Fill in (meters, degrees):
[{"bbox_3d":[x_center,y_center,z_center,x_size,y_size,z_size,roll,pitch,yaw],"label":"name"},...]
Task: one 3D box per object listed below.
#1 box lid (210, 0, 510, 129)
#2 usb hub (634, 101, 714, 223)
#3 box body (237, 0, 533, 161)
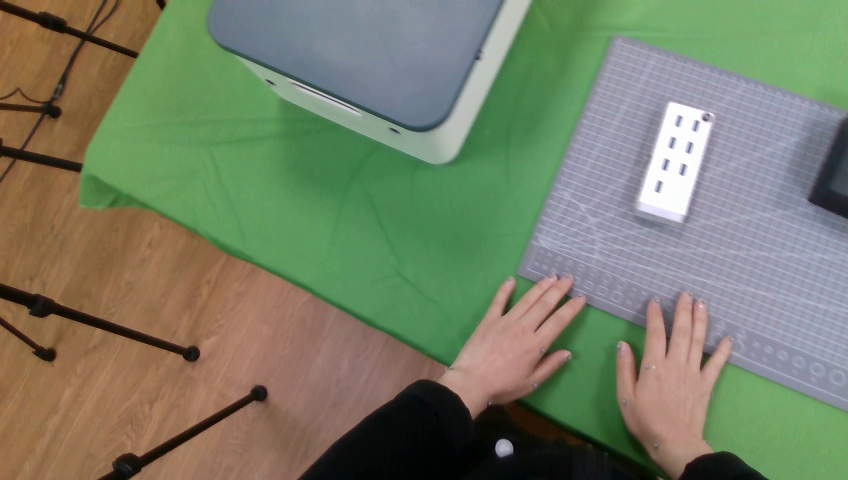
[{"bbox_3d":[-0.022,-0.307,0.582,0.262,0.015,0.371,25,85,10],"label":"box lid"},{"bbox_3d":[0.269,-0.084,0.653,0.049,0.025,0.125,19,84,10],"label":"usb hub"},{"bbox_3d":[-0.012,-0.296,0.654,0.253,0.161,0.363,25,85,10],"label":"box body"}]
